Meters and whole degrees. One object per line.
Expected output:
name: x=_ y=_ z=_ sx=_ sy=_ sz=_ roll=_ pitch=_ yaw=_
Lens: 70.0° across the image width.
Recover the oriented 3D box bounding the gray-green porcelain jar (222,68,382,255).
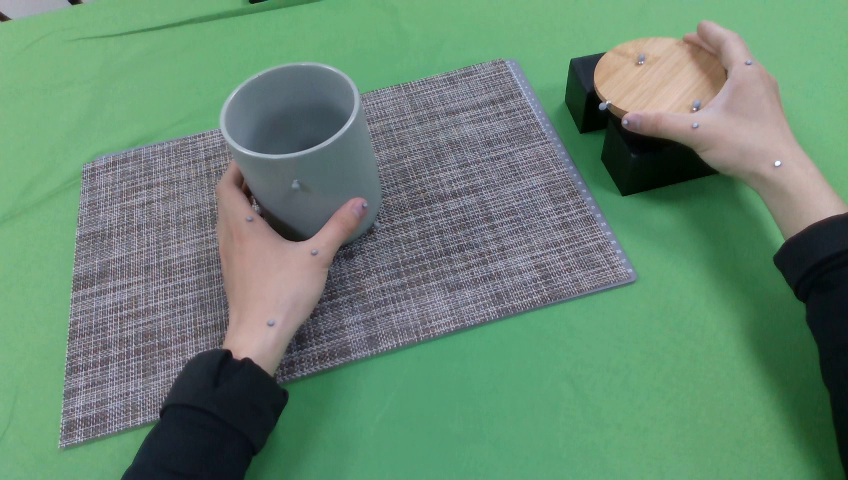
gray-green porcelain jar: x=-0.093 y=-0.057 z=0.499 sx=0.106 sy=0.128 sz=0.105 roll=-3 pitch=53 yaw=5

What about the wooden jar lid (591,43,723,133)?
wooden jar lid: x=0.201 y=-0.132 z=0.528 sx=0.108 sy=0.021 sz=0.107 roll=-5 pitch=53 yaw=7
